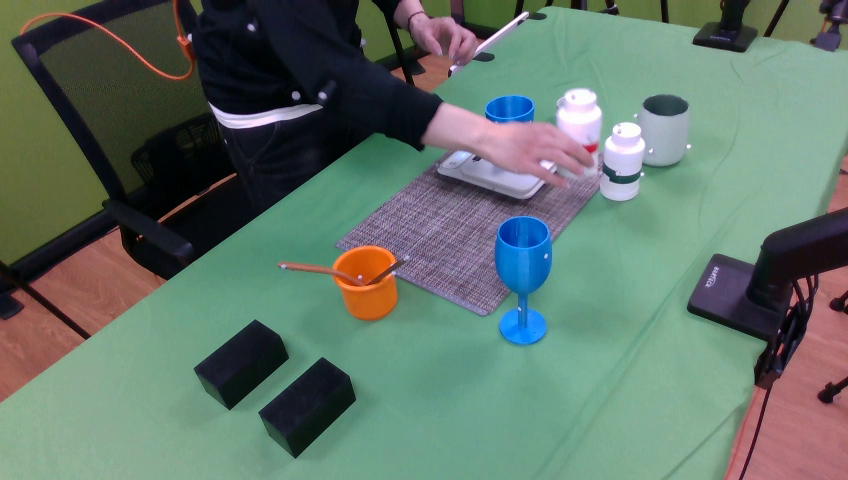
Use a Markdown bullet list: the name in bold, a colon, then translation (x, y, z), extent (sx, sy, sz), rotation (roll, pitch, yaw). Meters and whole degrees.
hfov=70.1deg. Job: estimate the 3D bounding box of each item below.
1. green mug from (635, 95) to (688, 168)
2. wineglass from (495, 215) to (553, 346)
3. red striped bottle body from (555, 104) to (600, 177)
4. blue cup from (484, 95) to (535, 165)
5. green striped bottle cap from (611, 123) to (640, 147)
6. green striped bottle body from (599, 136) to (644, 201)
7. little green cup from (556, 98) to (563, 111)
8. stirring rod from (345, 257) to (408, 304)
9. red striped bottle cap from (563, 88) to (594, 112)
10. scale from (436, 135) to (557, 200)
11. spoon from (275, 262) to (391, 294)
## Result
- **green mug**: translation (0.421, -0.201, 1.081), extent (0.092, 0.105, 0.125), rotation (5, 42, 15)
- **wineglass**: translation (0.127, 0.054, 0.770), extent (0.074, 0.173, 0.073), rotation (-4, 40, 4)
- **red striped bottle body**: translation (0.226, -0.158, 0.892), extent (0.063, 0.120, 0.062), rotation (-5, 38, 4)
- **blue cup**: translation (0.151, -0.188, 1.053), extent (0.092, 0.101, 0.092), rotation (-6, 39, 5)
- **green striped bottle cap**: translation (0.322, -0.168, 0.963), extent (0.044, 0.020, 0.044), rotation (-3, 42, 3)
- **green striped bottle body**: translation (0.326, -0.128, 0.997), extent (0.063, 0.120, 0.063), rotation (-4, 41, 4)
- **little green cup**: translation (0.295, -0.258, 1.214), extent (0.061, 0.039, 0.061), rotation (-4, 42, 4)
- **stirring rod**: translation (-0.067, 0.057, 0.815), extent (0.014, 0.175, 0.006), rotation (-25, 82, -38)
- **red striped bottle cap**: translation (0.219, -0.200, 0.859), extent (0.044, 0.018, 0.044), rotation (-6, 37, 5)
- **scale**: translation (0.137, -0.141, 1.101), extent (0.199, 0.032, 0.149), rotation (22, 48, 30)
- **spoon**: translation (-0.120, 0.050, 0.830), extent (0.041, 0.195, 0.021), rotation (31, 97, 45)
